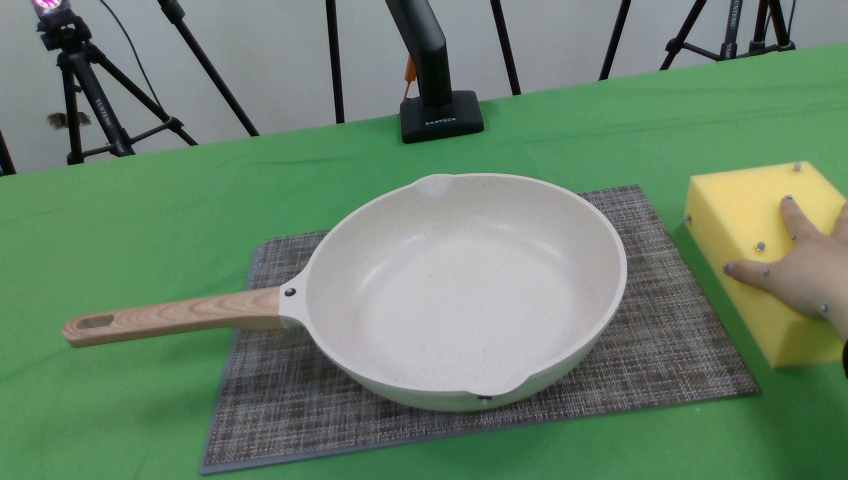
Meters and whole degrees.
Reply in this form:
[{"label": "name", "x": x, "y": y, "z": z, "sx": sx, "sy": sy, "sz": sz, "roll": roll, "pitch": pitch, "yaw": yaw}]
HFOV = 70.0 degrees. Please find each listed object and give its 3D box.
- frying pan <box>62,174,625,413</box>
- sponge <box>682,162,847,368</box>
[{"label": "frying pan", "x": -0.069, "y": 0.053, "z": 0.554, "sx": 0.489, "sy": 0.103, "sz": 0.303, "roll": -5, "pitch": 36, "yaw": -6}, {"label": "sponge", "x": 0.334, "y": 0.013, "z": 0.551, "sx": 0.118, "sy": 0.061, "sz": 0.204, "roll": -8, "pitch": 38, "yaw": 3}]
